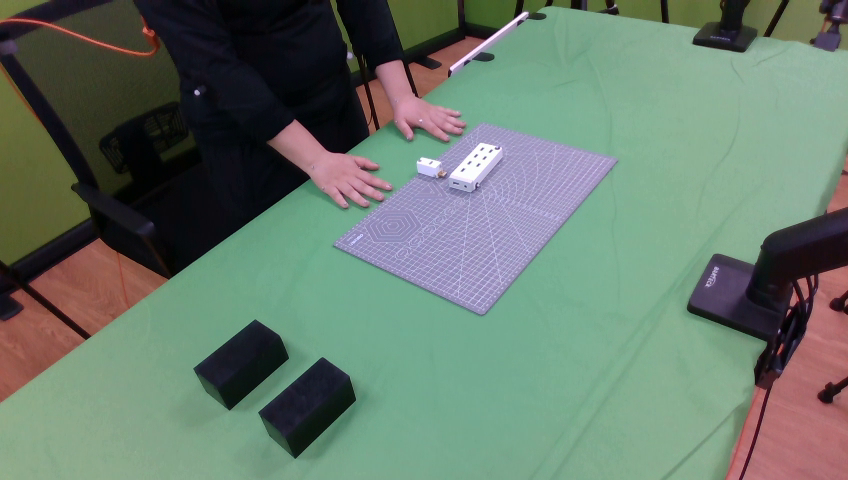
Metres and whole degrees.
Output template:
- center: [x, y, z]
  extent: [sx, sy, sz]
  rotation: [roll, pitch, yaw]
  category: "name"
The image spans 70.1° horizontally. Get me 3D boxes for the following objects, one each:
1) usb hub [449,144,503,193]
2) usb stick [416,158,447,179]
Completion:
- center: [0.096, -0.132, 1.105]
  extent: [0.049, 0.025, 0.125]
  rotation: [18, 47, 27]
  category: "usb hub"
- center: [0.016, -0.130, 1.114]
  extent: [0.059, 0.027, 0.021]
  rotation: [21, 44, 25]
  category: "usb stick"
